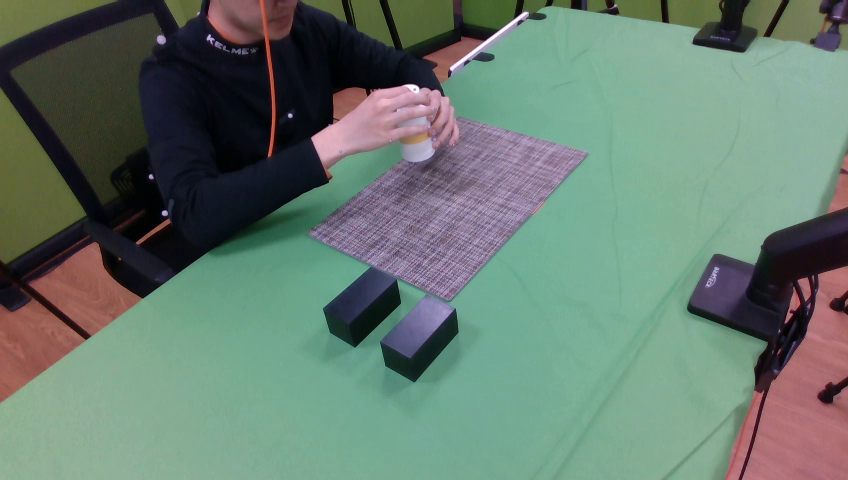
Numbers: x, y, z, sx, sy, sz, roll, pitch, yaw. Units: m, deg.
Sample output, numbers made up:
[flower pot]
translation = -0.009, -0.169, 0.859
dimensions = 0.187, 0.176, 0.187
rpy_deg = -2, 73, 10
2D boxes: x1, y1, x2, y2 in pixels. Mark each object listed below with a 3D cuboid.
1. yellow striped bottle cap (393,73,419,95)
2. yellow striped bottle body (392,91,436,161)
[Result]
[yellow striped bottle cap]
translation = -0.029, -0.259, 1.004
dimensions = 0.044, 0.019, 0.044
rpy_deg = -1, 42, 1
[yellow striped bottle body]
translation = -0.019, -0.205, 1.059
dimensions = 0.063, 0.121, 0.062
rpy_deg = -7, 41, 7
